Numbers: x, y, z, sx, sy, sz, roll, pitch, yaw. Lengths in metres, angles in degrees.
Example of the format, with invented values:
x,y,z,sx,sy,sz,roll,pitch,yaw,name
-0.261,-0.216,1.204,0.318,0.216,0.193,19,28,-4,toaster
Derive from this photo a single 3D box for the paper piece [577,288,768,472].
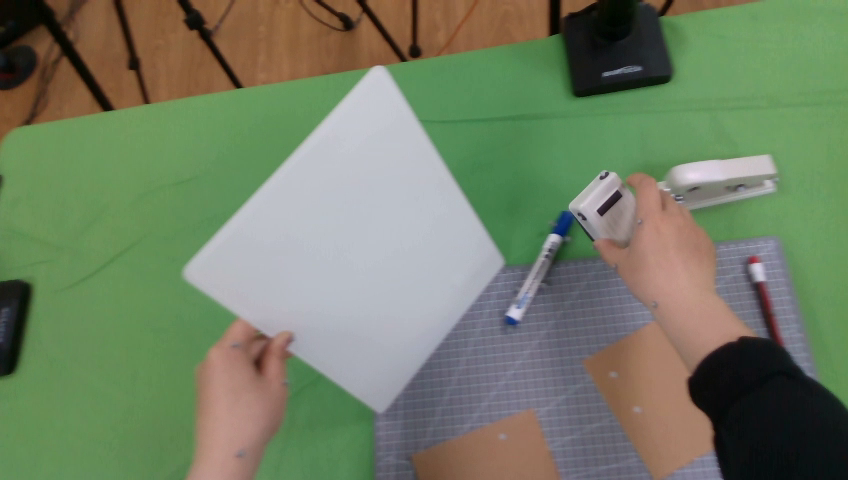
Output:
x,y,z,sx,sy,sz,roll,pitch,yaw,name
0.249,0.139,0.616,0.136,0.009,0.137,-30,69,1,paper piece

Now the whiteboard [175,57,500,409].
x,y,z,sx,sy,sz,roll,pitch,yaw,name
-0.088,-0.007,0.600,0.142,0.309,0.217,32,77,40,whiteboard

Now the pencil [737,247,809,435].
x,y,z,sx,sy,sz,roll,pitch,yaw,name
0.353,0.097,0.612,0.012,0.012,0.192,-11,70,5,pencil

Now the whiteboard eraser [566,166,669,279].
x,y,z,sx,sy,sz,roll,pitch,yaw,name
0.197,-0.017,0.620,0.055,0.041,0.113,-40,105,-4,whiteboard eraser

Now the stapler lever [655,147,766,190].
x,y,z,sx,sy,sz,roll,pitch,yaw,name
0.311,-0.080,0.656,0.118,0.040,0.026,-13,70,4,stapler lever

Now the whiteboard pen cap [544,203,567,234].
x,y,z,sx,sy,sz,roll,pitch,yaw,name
0.149,-0.024,0.687,0.018,0.018,0.033,23,73,17,whiteboard pen cap

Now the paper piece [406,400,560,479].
x,y,z,sx,sy,sz,roll,pitch,yaw,name
0.066,0.246,0.603,0.135,0.004,0.134,-21,65,0,paper piece

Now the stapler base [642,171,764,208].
x,y,z,sx,sy,sz,roll,pitch,yaw,name
0.313,-0.070,0.678,0.130,0.024,0.041,-13,70,2,stapler base

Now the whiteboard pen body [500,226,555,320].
x,y,z,sx,sy,sz,roll,pitch,yaw,name
0.120,0.025,0.675,0.017,0.017,0.140,24,73,17,whiteboard pen body
